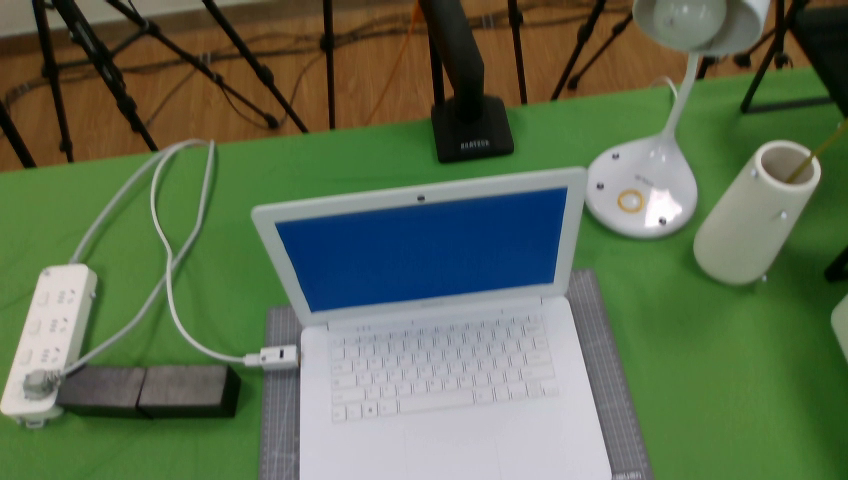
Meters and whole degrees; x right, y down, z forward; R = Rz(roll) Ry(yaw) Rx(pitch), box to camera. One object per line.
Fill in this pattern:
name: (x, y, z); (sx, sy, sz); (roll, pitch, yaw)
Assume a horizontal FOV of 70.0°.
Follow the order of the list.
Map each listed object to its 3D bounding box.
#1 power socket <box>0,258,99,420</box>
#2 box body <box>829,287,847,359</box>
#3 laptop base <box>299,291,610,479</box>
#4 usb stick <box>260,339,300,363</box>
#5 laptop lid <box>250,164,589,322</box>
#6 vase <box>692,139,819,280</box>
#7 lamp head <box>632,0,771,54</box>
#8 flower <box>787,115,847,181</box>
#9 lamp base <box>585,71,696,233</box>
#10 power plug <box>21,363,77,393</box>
power socket: (-0.492, 0.122, 0.804); (0.072, 0.033, 0.224); (-4, 58, 0)
box body: (0.632, 0.177, 0.620); (0.254, 0.162, 0.360); (-6, 58, 1)
laptop base: (0.025, 0.188, 0.738); (0.354, 0.023, 0.233); (-7, 62, -1)
usb stick: (-0.175, 0.140, 0.765); (0.059, 0.027, 0.021); (-3, 57, -4)
laptop lid: (0.003, 0.014, 0.705); (0.357, 0.244, 0.013); (-8, 52, 1)
vase: (0.401, -0.034, 0.743); (0.098, 0.202, 0.097); (-3, 57, 4)
lamp head: (0.259, -0.243, 0.540); (0.112, 0.113, 0.122); (20, 79, 16)
flower: (0.415, -0.079, 0.673); (0.038, 0.364, 0.043); (9, 49, -10)
lamp base: (0.312, -0.128, 0.818); (0.160, 0.182, 0.178); (23, 60, 17)
power plug: (-0.459, 0.174, 0.747); (0.072, 0.053, 0.035); (7, 58, 6)
